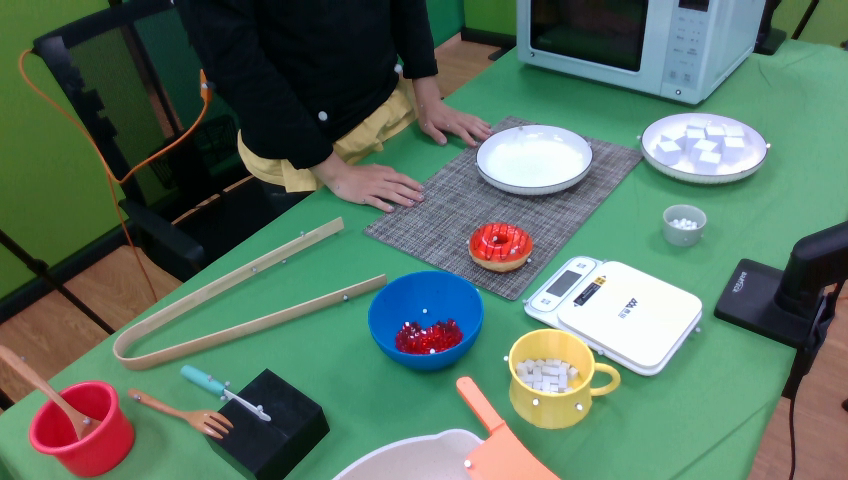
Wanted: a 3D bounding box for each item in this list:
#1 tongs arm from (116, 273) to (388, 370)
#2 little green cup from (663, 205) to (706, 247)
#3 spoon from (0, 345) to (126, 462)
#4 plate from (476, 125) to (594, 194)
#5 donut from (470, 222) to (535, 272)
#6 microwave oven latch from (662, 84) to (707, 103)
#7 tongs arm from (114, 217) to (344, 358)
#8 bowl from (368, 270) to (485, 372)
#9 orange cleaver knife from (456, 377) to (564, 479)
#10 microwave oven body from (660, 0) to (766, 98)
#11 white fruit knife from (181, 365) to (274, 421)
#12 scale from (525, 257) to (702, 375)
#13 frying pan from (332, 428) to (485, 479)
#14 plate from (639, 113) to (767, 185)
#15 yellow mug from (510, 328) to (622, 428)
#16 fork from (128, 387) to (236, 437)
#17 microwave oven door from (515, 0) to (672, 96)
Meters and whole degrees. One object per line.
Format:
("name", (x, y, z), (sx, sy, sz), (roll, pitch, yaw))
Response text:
("tongs arm", (-0.236, 0.115, 0.870), (0.389, 0.028, 0.028), (-18, 49, -13))
("little green cup", (0.396, -0.020, 0.926), (0.061, 0.039, 0.061), (-4, 40, 4))
("spoon", (-0.434, 0.192, 0.720), (0.194, 0.021, 0.042), (47, 54, -7))
("plate", (0.199, -0.141, 1.093), (0.209, 0.038, 0.208), (-4, 40, 4))
("donut", (0.119, 0.009, 0.923), (0.099, 0.048, 0.098), (-4, 38, 3))
("microwave oven latch", (0.517, -0.296, 1.204), (0.078, 0.029, 0.030), (27, 52, 35))
("tongs arm", (-0.280, 0.067, 0.927), (0.386, 0.026, 0.050), (-29, 49, -23))
("bowl", (0.007, 0.118, 0.791), (0.151, 0.077, 0.150), (-4, 40, 4))
("orange cleaver knife", (0.081, 0.220, 0.611), (0.077, 0.012, 0.209), (-26, 43, -22))
("microwave oven body", (0.472, -0.513, 1.317), (0.438, 0.261, 0.327), (26, 51, 34))
("white fruit knife", (-0.245, 0.187, 0.747), (0.205, 0.027, 0.016), (9, 41, 40))
("scale", (0.254, 0.091, 0.821), (0.199, 0.032, 0.149), (28, 51, 35))
("frying pan", (-0.089, 0.306, 0.564), (0.487, 0.103, 0.306), (10, 41, 7))
("plate", (0.489, -0.157, 1.074), (0.207, 0.039, 0.206), (-4, 40, 4))
("yellow mug", (0.169, 0.164, 0.722), (0.130, 0.064, 0.099), (0, 40, 8))
("fork", (-0.305, 0.207, 0.744), (0.206, 0.019, 0.028), (3, 41, 36))
("microwave oven door", (0.343, -0.454, 1.259), (0.353, 0.245, 0.039), (26, 51, 33))
